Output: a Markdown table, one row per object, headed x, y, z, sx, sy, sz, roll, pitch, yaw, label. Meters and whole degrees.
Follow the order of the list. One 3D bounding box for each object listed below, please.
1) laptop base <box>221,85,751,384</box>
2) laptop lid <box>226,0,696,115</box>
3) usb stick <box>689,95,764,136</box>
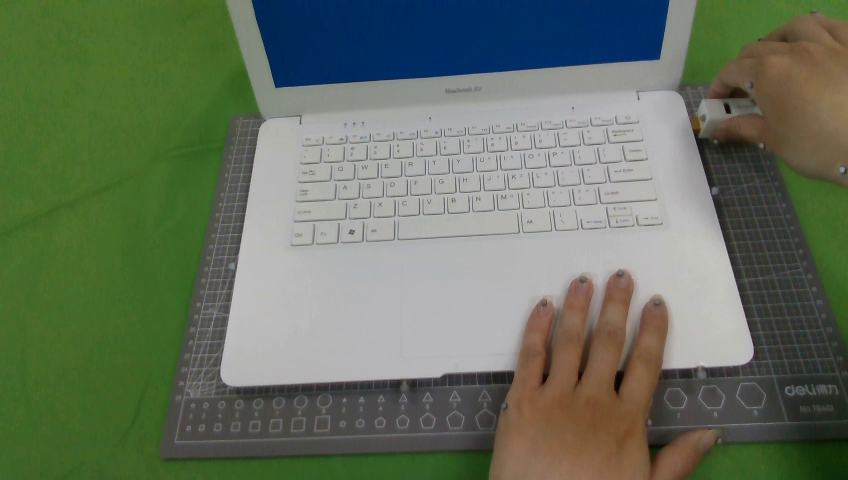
| x | y | z | sx | sy | sz | roll | pitch | yaw | label |
| --- | --- | --- | --- | --- | --- | --- | --- | --- | --- |
| 0.035 | -0.012 | 0.458 | 0.354 | 0.023 | 0.233 | -3 | 63 | 4 | laptop base |
| 0.024 | -0.201 | 0.437 | 0.356 | 0.244 | 0.013 | -4 | 42 | 5 | laptop lid |
| 0.230 | -0.097 | 0.475 | 0.059 | 0.027 | 0.021 | -3 | 58 | 7 | usb stick |
